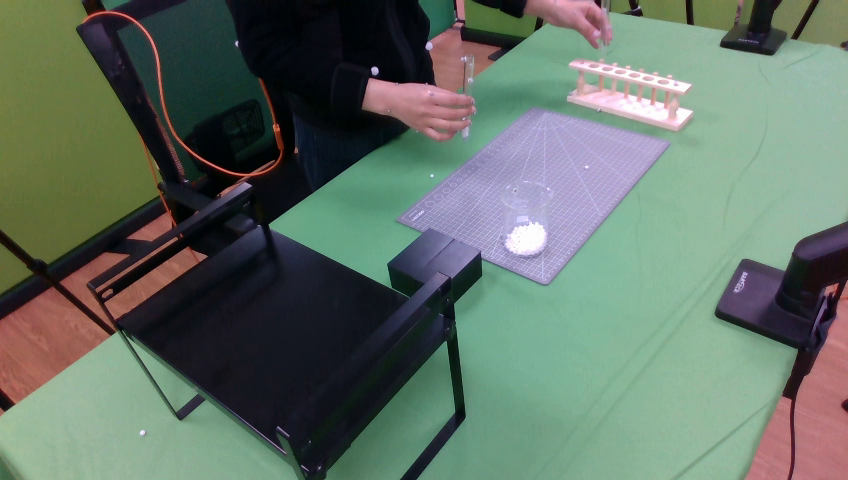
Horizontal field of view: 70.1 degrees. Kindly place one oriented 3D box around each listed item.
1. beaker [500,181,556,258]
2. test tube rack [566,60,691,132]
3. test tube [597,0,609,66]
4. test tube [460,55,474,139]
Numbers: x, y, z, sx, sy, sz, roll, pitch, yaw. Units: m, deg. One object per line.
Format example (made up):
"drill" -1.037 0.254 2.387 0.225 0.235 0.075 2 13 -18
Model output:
"beaker" 0.159 -0.030 0.922 0.084 0.100 0.073 -13 41 -8
"test tube rack" 0.411 -0.299 1.216 0.240 0.085 0.067 26 51 33
"test tube" 0.358 -0.416 1.212 0.017 0.151 0.017 -5 32 3
"test tube" 0.072 -0.239 1.021 0.017 0.151 0.017 1 40 0
